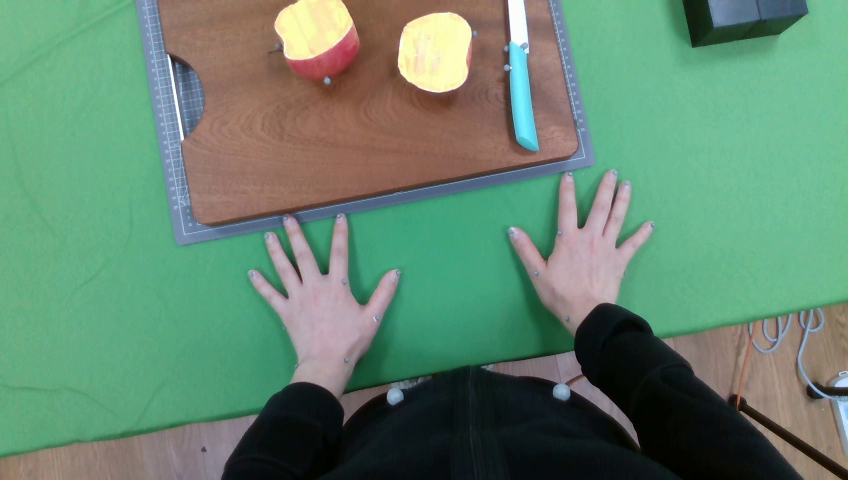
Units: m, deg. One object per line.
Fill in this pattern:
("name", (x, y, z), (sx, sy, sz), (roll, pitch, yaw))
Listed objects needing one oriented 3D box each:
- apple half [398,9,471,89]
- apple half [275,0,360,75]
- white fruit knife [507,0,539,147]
("apple half", (0.013, -0.191, 0.612), (0.081, 0.033, 0.081), (1, 96, 11))
("apple half", (-0.101, -0.197, 0.598), (0.074, 0.054, 0.080), (-29, 62, -1))
("white fruit knife", (0.098, -0.199, 0.624), (0.027, 0.016, 0.207), (-1, 83, -29))
